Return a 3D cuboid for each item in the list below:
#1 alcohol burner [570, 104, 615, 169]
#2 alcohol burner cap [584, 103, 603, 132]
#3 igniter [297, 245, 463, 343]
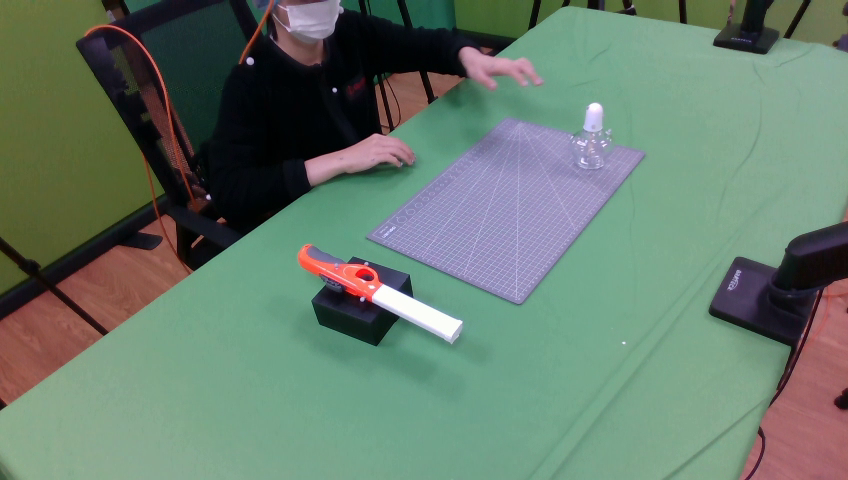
[{"bbox_3d":[0.299,-0.187,1.071,0.078,0.119,0.077,-6,41,6],"label":"alcohol burner"},{"bbox_3d":[0.295,-0.213,1.047,0.034,0.048,0.033,-4,38,4],"label":"alcohol burner cap"},{"bbox_3d":[-0.070,0.068,0.827,0.274,0.025,0.057,23,49,25],"label":"igniter"}]
